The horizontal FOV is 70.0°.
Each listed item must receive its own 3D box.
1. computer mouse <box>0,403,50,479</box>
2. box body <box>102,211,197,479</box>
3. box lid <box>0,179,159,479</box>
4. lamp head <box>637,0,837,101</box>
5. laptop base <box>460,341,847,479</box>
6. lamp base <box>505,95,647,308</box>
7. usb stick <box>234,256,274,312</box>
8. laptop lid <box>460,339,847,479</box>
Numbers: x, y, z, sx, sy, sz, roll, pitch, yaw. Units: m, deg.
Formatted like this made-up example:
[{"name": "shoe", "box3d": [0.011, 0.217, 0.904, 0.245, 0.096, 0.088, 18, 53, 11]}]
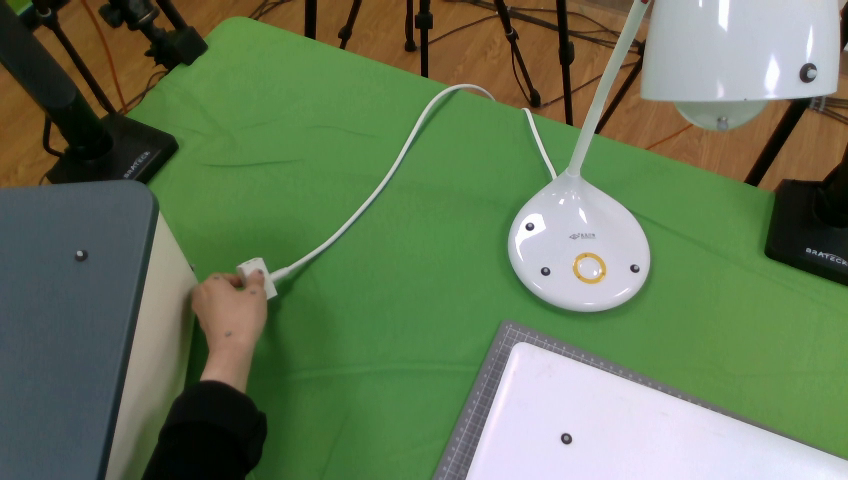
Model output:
[{"name": "computer mouse", "box3d": [-0.391, 0.191, 0.554, 0.063, 0.041, 0.116, -29, 22, -6]}, {"name": "box body", "box3d": [-0.361, 0.146, 0.524, 0.254, 0.162, 0.360, -3, 58, -2]}, {"name": "box lid", "box3d": [-0.361, 0.105, 0.462, 0.263, 0.015, 0.368, -3, 59, -2]}, {"name": "lamp head", "box3d": [0.187, -0.147, 0.367, 0.112, 0.112, 0.123, -5, 102, -3]}, {"name": "laptop base", "box3d": [0.208, 0.252, 0.543, 0.353, 0.023, 0.234, 19, 63, 11]}, {"name": "lamp base", "box3d": [0.169, -0.046, 0.633, 0.161, 0.182, 0.177, -12, 56, -8]}, {"name": "usb stick", "box3d": [-0.181, 0.048, 0.654, 0.027, 0.059, 0.021, -25, 15, -37]}, {"name": "laptop lid", "box3d": [0.207, 0.247, 0.531, 0.355, 0.013, 0.240, 21, 63, 12]}]
